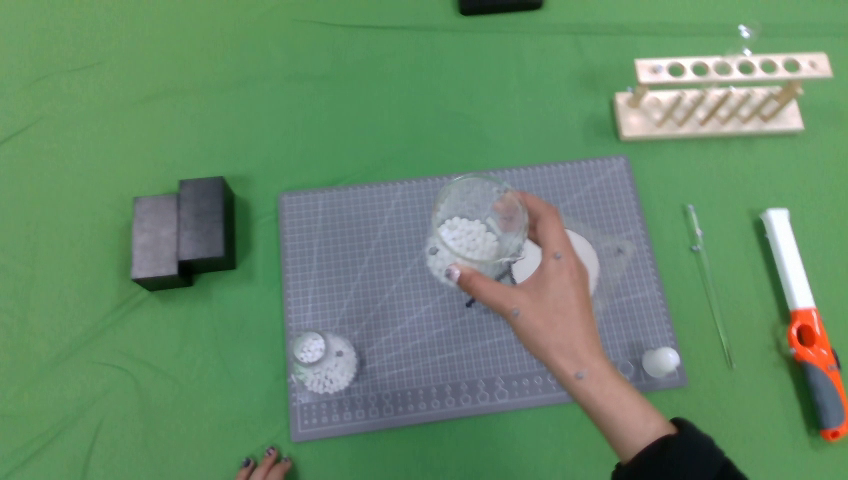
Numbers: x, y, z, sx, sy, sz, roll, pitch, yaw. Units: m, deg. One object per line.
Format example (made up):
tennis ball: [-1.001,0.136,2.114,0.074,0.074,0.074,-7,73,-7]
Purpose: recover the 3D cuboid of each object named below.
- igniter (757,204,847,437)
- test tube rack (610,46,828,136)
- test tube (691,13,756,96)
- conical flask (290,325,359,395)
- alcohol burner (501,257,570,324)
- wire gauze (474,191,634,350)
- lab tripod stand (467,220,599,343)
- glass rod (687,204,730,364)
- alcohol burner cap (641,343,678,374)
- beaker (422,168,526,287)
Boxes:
igniter: [0.446,0.087,0.713,0.057,0.025,0.274,-2,71,-14]
test tube rack: [0.373,-0.188,0.773,0.242,0.085,0.066,-3,71,-3]
test tube: [0.357,-0.217,0.730,0.017,0.151,0.017,0,71,1]
conical flask: [-0.110,0.119,0.632,0.075,0.122,0.075,1,71,-2]
alcohol burner: [0.126,0.052,0.667,0.078,0.120,0.077,0,72,0]
wire gauze: [0.128,0.025,0.594,0.125,0.011,0.121,28,74,8]
lab tripod stand: [0.124,0.045,0.658,0.148,0.132,0.147,0,73,0]
glass rod: [0.343,0.050,0.733,0.008,0.008,0.198,-6,74,-4]
alcohol burner cap: [0.268,0.131,0.682,0.034,0.048,0.033,1,70,-2]
beaker: [0.038,-0.003,0.502,0.084,0.100,0.074,40,73,7]
